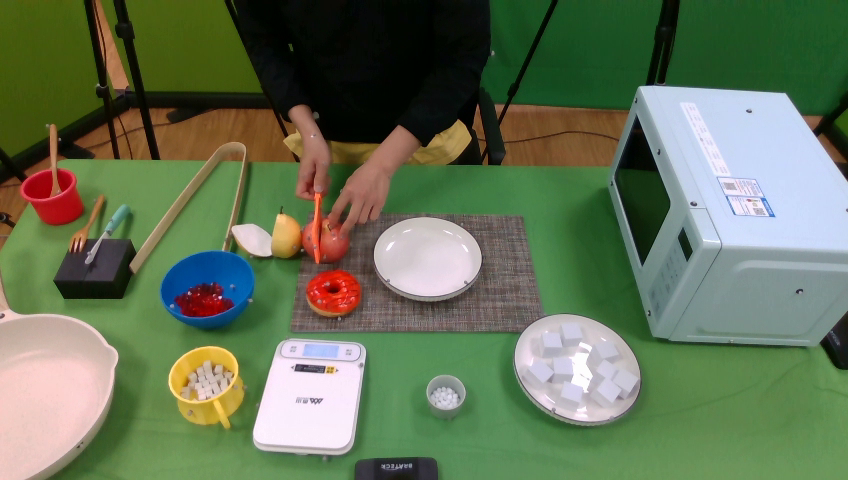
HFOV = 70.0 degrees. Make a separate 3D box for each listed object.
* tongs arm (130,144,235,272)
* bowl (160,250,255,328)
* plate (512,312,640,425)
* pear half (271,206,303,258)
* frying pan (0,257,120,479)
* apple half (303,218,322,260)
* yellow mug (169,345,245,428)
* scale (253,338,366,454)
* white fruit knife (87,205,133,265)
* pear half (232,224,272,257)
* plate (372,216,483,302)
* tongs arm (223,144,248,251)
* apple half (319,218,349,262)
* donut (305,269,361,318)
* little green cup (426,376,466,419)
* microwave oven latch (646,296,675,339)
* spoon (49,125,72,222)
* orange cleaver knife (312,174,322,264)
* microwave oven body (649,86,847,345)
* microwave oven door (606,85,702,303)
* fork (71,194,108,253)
[{"bbox_3d":[-0.484,-0.079,1.233,0.028,0.028,0.385,7,44,12],"label":"tongs arm"},{"bbox_3d":[-0.362,0.098,1.040,0.151,0.077,0.150,2,45,-2],"label":"bowl"},{"bbox_3d":[0.246,0.213,0.999,0.208,0.039,0.206,2,46,-2],"label":"plate"},{"bbox_3d":[-0.255,-0.018,1.136,0.056,0.110,0.076,4,42,-8],"label":"pear half"},{"bbox_3d":[-0.647,0.164,0.936,0.307,0.103,0.485,-19,58,-22],"label":"frying pan"},{"bbox_3d":[-0.210,0.000,1.139,0.033,0.082,0.081,1,46,3],"label":"apple half"},{"bbox_3d":[-0.322,0.230,0.922,0.100,0.064,0.130,-24,53,-25],"label":"yellow mug"},{"bbox_3d":[-0.175,0.236,0.951,0.149,0.032,0.199,4,45,-1],"label":"scale"},{"bbox_3d":[-0.584,-0.013,1.129,0.016,0.027,0.206,-1,32,-4],"label":"white fruit knife"},{"bbox_3d":[-0.329,0.004,1.151,0.088,0.031,0.070,28,32,-27],"label":"pear half"},{"bbox_3d":[0.006,0.038,1.145,0.209,0.038,0.208,2,46,-2],"label":"plate"},{"bbox_3d":[-0.397,-0.073,1.232,0.051,0.026,0.382,-1,45,-1],"label":"tongs arm"},{"bbox_3d":[-0.169,0.002,1.144,0.053,0.075,0.080,2,41,-8],"label":"apple half"},{"bbox_3d":[-0.160,0.094,1.075,0.099,0.048,0.098,4,45,-3],"label":"donut"},{"bbox_3d":[0.033,0.248,0.950,0.061,0.039,0.061,2,46,-2],"label":"little green cup"},{"bbox_3d":[0.412,0.134,1.061,0.030,0.029,0.078,4,45,1],"label":"microwave oven latch"},{"bbox_3d":[-0.718,-0.131,1.189,0.041,0.021,0.193,-4,90,-6],"label":"spoon"},{"bbox_3d":[-0.201,-0.044,1.146,0.012,0.077,0.210,-2,42,-4],"label":"orange cleaver knife"},{"bbox_3d":[0.567,-0.053,1.118,0.326,0.261,0.439,2,45,-1],"label":"microwave oven body"},{"bbox_3d":[0.423,-0.094,1.140,0.039,0.245,0.353,2,46,-1],"label":"microwave oven door"},{"bbox_3d":[-0.634,-0.036,1.158,0.028,0.019,0.206,-8,32,-8],"label":"fork"}]
